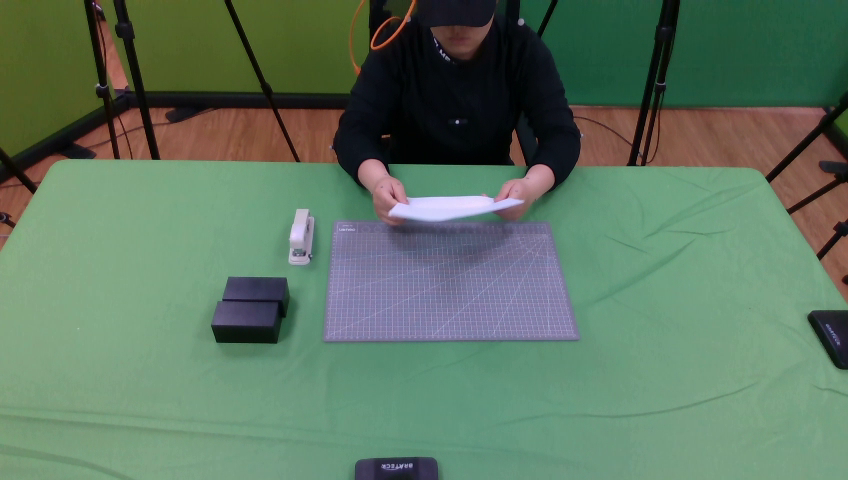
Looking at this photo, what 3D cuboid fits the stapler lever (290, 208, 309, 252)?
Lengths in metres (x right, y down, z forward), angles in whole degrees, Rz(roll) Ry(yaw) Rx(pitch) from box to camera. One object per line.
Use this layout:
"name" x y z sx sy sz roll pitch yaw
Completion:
"stapler lever" -0.240 -0.026 1.168 0.027 0.040 0.117 1 44 -6

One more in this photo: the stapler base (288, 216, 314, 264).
"stapler base" -0.241 -0.007 1.185 0.041 0.024 0.129 1 44 -6
